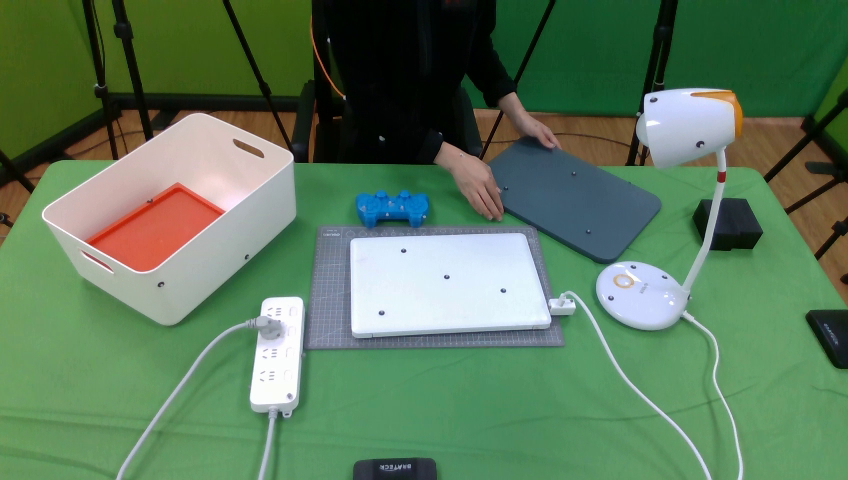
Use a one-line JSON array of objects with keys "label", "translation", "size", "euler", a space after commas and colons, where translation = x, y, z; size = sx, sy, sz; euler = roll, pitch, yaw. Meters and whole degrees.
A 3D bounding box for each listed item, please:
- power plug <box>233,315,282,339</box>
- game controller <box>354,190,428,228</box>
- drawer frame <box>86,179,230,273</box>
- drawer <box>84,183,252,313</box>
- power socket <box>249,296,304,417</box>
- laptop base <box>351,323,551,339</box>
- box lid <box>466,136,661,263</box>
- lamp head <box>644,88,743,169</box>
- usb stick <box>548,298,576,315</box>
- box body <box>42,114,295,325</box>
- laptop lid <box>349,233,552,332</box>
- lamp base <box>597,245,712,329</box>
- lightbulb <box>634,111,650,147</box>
[{"label": "power plug", "translation": [-0.271, 0.144, 0.999], "size": [0.072, 0.053, 0.035], "euler": [6, 47, 3]}, {"label": "game controller", "translation": [-0.066, -0.072, 1.244], "size": [0.155, 0.052, 0.096], "euler": [0, 48, -4]}, {"label": "drawer frame", "translation": [-0.453, 0.010, 1.100], "size": [0.201, 0.083, 0.213], "euler": [28, 55, 22]}, {"label": "drawer", "translation": [-0.457, 0.008, 1.099], "size": [0.194, 0.073, 0.211], "euler": [29, 49, 21]}, {"label": "power socket", "translation": [-0.239, 0.182, 0.996], "size": [0.072, 0.033, 0.225], "euler": [-2, 47, -5]}, {"label": "laptop base", "translation": [0.040, 0.081, 1.125], "size": [0.355, 0.023, 0.234], "euler": [-2, 43, -6]}, {"label": "box lid", "translation": [0.306, -0.102, 1.327], "size": [0.370, 0.015, 0.263], "euler": [32, 52, 25]}, {"label": "lamp head", "translation": [0.380, -0.161, 0.851], "size": [0.122, 0.113, 0.112], "euler": [-4, 42, 25]}, {"label": "usb stick", "translation": [0.240, 0.120, 1.086], "size": [0.059, 0.027, 0.021], "euler": [-2, 51, -2]}, {"label": "box body", "translation": [-0.437, -0.046, 1.110], "size": [0.253, 0.161, 0.363], "euler": [24, 49, 19]}, {"label": "laptop lid", "translation": [0.040, 0.071, 1.118], "size": [0.357, 0.013, 0.240], "euler": [-1, 44, -5]}, {"label": "lamp base", "translation": [0.418, 0.051, 1.072], "size": [0.179, 0.181, 0.160], "euler": [22, 49, 13]}, {"label": "lightbulb", "translation": [0.348, -0.163, 0.852], "size": [0.059, 0.060, 0.107], "euler": [-36, 19, -32]}]
